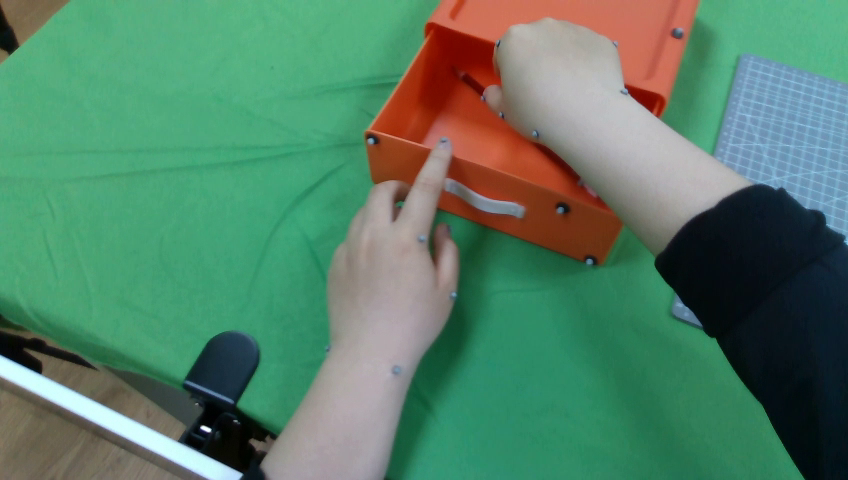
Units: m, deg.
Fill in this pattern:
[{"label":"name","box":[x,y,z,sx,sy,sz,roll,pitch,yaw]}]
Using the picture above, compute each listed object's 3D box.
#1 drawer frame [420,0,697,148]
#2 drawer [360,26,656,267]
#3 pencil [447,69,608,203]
[{"label":"drawer frame","box":[0.129,-0.200,0.547,0.201,0.083,0.212,21,61,11]},{"label":"drawer","box":[0.082,-0.106,0.495,0.194,0.074,0.210,21,61,12]},{"label":"pencil","box":[0.082,-0.095,0.520,0.012,0.012,0.192,-35,64,-19]}]
